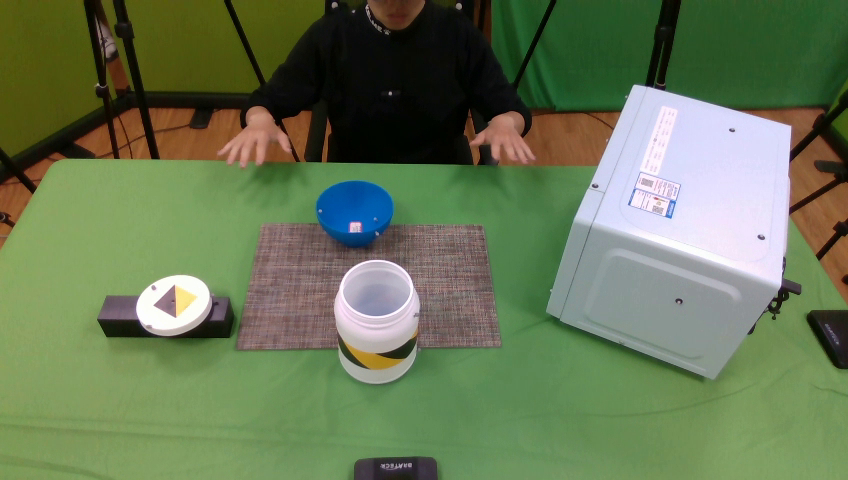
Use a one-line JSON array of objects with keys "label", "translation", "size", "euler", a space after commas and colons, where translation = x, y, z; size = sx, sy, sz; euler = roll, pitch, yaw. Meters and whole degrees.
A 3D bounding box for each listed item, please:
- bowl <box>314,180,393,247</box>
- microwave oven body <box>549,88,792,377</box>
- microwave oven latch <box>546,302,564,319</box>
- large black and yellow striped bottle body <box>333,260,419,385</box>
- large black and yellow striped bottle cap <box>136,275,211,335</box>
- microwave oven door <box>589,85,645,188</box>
[{"label": "bowl", "translation": [-0.135, -0.039, 1.180], "size": [0.151, 0.077, 0.150], "euler": [3, 46, -2]}, {"label": "microwave oven body", "translation": [0.456, -0.028, 1.088], "size": [0.325, 0.261, 0.440], "euler": [20, 47, 16]}, {"label": "microwave oven latch", "translation": [0.242, 0.102, 1.081], "size": [0.030, 0.029, 0.079], "euler": [21, 48, 17]}, {"label": "large black and yellow striped bottle body", "translation": [-0.075, 0.129, 0.950], "size": [0.131, 0.185, 0.130], "euler": [2, 49, -2]}, {"label": "large black and yellow striped bottle cap", "translation": [-0.412, 0.105, 0.999], "size": [0.115, 0.019, 0.114], "euler": [3, 46, -3]}, {"label": "microwave oven door", "translation": [0.341, -0.107, 1.149], "size": [0.039, 0.245, 0.354], "euler": [20, 48, 15]}]
